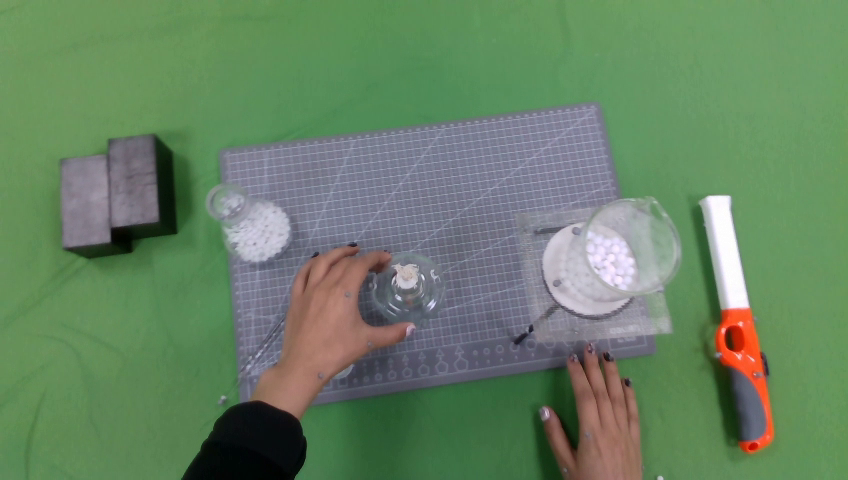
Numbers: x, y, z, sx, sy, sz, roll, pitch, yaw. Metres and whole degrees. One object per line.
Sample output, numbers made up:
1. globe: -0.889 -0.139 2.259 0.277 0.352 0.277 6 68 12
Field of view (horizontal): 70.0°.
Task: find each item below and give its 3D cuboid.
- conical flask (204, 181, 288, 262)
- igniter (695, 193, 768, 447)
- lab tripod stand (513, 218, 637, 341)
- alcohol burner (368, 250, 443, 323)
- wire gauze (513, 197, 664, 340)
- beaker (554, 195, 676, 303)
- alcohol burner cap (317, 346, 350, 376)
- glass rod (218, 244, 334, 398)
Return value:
1. conical flask: -0.187 -0.024 0.618 0.075 0.122 0.075 0 77 -1
2. igniter: 0.336 0.082 0.664 0.057 0.025 0.275 -1 78 -13
3. lab tripod stand: 0.146 0.042 0.610 0.148 0.132 0.147 0 79 -2
4. alcohol burner: -0.019 0.045 0.614 0.078 0.119 0.077 0 78 1
5. wire gauze: 0.149 0.025 0.546 0.125 0.011 0.121 -5 81 -4
6. beaker: 0.152 0.011 0.500 0.074 0.100 0.084 27 79 4
7. alcohol burner cap: -0.096 0.125 0.630 0.034 0.048 0.033 0 78 -2
8. glass rod: -0.158 0.085 0.653 0.008 0.008 0.199 34 79 6
